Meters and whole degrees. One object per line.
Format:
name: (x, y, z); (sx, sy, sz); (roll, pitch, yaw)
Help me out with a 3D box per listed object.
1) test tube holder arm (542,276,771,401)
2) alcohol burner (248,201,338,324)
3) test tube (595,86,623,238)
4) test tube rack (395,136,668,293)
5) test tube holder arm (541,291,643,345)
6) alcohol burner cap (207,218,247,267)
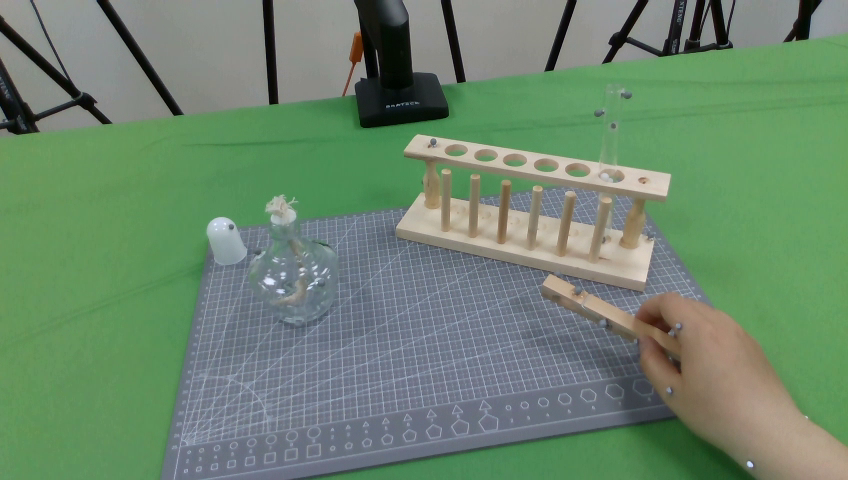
test tube holder arm: (0.173, 0.073, 0.467); (0.177, 0.013, 0.015); (26, 64, 22)
alcohol burner: (-0.114, 0.015, 0.516); (0.078, 0.120, 0.077); (-1, 41, 1)
test tube: (0.161, -0.063, 0.530); (0.017, 0.151, 0.017); (-6, 38, 5)
test tube rack: (0.093, -0.029, 0.572); (0.241, 0.086, 0.066); (12, 43, 19)
test tube holder arm: (0.137, 0.058, 0.489); (0.087, 0.010, 0.015); (26, 64, 23)
alcohol burner cap: (-0.196, 0.000, 0.596); (0.034, 0.048, 0.033); (-1, 41, 1)
